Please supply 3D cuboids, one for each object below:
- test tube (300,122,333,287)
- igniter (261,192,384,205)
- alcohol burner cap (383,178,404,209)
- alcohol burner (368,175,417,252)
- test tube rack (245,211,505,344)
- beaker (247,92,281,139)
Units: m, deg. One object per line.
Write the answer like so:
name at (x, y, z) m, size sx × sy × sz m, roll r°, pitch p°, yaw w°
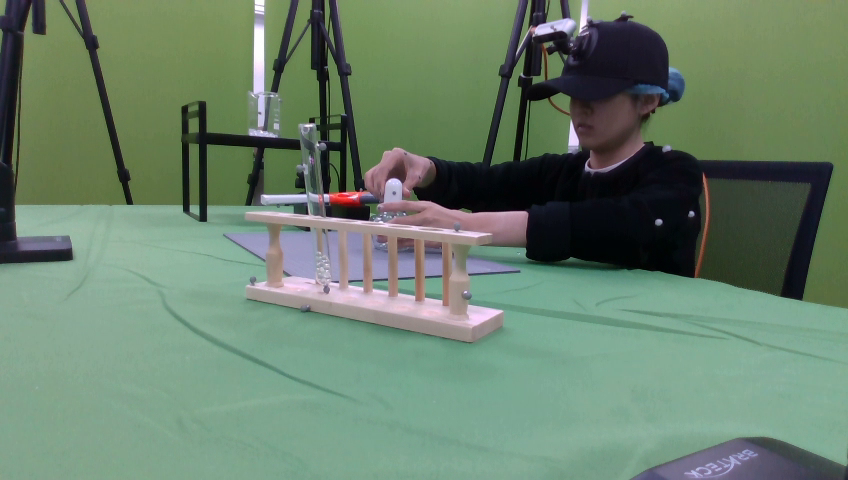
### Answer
test tube at (-0.096, -0.030, 0.543) m, size 0.017 × 0.150 × 0.017 m, roll -3°, pitch 14°, yaw 1°
igniter at (-0.185, -0.083, 1.217) m, size 0.278 × 0.025 × 0.057 m, roll -2°, pitch 12°, yaw -25°
alcohol burner cap at (-0.048, -0.073, 0.941) m, size 0.034 × 0.048 × 0.034 m, roll 0°, pitch 7°, yaw 0°
alcohol burner at (-0.049, -0.042, 0.946) m, size 0.078 × 0.119 × 0.078 m, roll 2°, pitch 6°, yaw 0°
test tube rack at (-0.049, 0.025, 0.547) m, size 0.241 × 0.085 × 0.067 m, roll 7°, pitch 8°, yaw 29°
beaker at (-0.361, -0.280, 1.359) m, size 0.074 × 0.100 × 0.084 m, roll 4°, pitch 8°, yaw 8°
